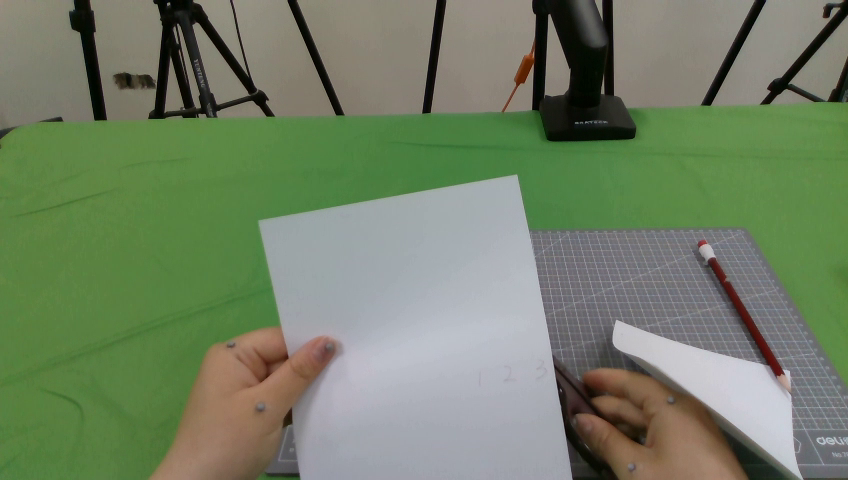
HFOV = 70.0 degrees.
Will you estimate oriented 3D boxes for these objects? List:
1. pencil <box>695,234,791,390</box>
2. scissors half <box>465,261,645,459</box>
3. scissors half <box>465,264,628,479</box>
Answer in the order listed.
[{"bbox_3d":[0.285,0.057,0.549,0.012,0.012,0.192,-3,39,0],"label":"pencil"},{"bbox_3d":[0.088,0.079,0.423,0.174,0.013,0.040,47,28,12],"label":"scissors half"},{"bbox_3d":[0.075,0.080,0.407,0.040,0.013,0.173,-2,49,-45],"label":"scissors half"}]
